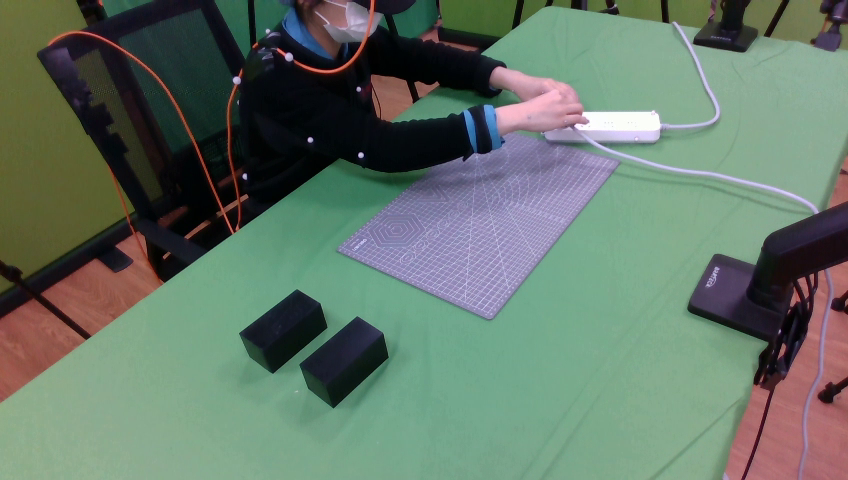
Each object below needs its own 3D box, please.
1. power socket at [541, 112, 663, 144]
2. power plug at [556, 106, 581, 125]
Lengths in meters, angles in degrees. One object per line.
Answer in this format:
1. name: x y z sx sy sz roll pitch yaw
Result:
1. power socket: 0.341 -0.217 1.164 0.226 0.033 0.072 4 42 12
2. power plug: 0.286 -0.240 1.162 0.073 0.035 0.052 -13 26 -41
